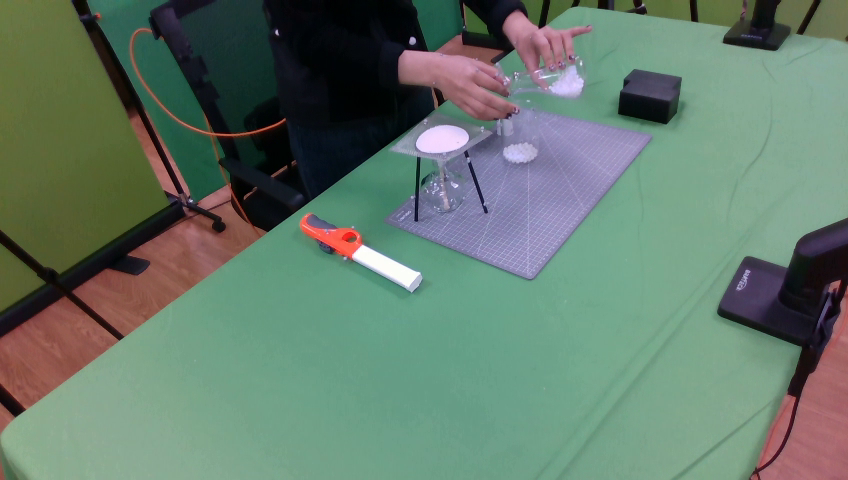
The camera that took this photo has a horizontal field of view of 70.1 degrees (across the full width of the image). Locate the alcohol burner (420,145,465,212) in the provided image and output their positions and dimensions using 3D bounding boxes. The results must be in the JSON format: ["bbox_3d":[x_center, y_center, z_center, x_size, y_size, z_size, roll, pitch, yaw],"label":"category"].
[{"bbox_3d":[0.030,-0.108,1.030,0.078,0.119,0.077,-5,38,4],"label":"alcohol burner"}]

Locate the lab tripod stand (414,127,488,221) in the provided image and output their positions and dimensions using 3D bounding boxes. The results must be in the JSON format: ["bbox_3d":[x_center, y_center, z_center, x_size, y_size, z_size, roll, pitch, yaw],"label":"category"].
[{"bbox_3d":[0.035,-0.114,1.021,0.148,0.132,0.147,-7,39,6],"label":"lab tripod stand"}]

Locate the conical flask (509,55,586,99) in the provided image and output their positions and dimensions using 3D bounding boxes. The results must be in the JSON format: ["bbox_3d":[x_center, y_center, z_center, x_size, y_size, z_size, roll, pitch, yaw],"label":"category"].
[{"bbox_3d":[0.211,-0.277,1.045,0.122,0.075,0.075,-7,40,-9],"label":"conical flask"}]

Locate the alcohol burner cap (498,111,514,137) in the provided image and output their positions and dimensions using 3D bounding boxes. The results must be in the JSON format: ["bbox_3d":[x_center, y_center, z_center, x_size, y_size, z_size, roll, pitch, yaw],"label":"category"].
[{"bbox_3d":[0.163,-0.235,1.211,0.034,0.048,0.033,-6,40,6],"label":"alcohol burner cap"}]

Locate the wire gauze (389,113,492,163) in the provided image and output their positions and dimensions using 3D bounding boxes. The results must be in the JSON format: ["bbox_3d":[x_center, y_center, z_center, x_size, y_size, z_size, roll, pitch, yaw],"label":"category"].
[{"bbox_3d":[0.026,-0.164,0.977,0.120,0.011,0.125,24,49,35],"label":"wire gauze"}]

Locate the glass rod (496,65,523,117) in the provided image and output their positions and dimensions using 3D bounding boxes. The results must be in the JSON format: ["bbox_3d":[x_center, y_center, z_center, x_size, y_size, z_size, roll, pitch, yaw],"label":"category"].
[{"bbox_3d":[0.148,-0.251,1.035,0.008,0.201,0.008,-4,77,19],"label":"glass rod"}]

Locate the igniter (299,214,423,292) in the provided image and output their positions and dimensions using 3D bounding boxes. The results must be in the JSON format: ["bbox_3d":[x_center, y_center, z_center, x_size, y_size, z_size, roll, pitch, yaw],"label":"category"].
[{"bbox_3d":[-0.113,0.016,0.983,0.274,0.025,0.057,26,62,35],"label":"igniter"}]

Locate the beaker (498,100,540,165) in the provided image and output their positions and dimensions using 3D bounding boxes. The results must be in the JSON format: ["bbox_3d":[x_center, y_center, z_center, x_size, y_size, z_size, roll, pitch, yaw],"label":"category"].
[{"bbox_3d":[0.180,-0.196,1.117,0.074,0.101,0.083,-25,43,-17],"label":"beaker"}]
